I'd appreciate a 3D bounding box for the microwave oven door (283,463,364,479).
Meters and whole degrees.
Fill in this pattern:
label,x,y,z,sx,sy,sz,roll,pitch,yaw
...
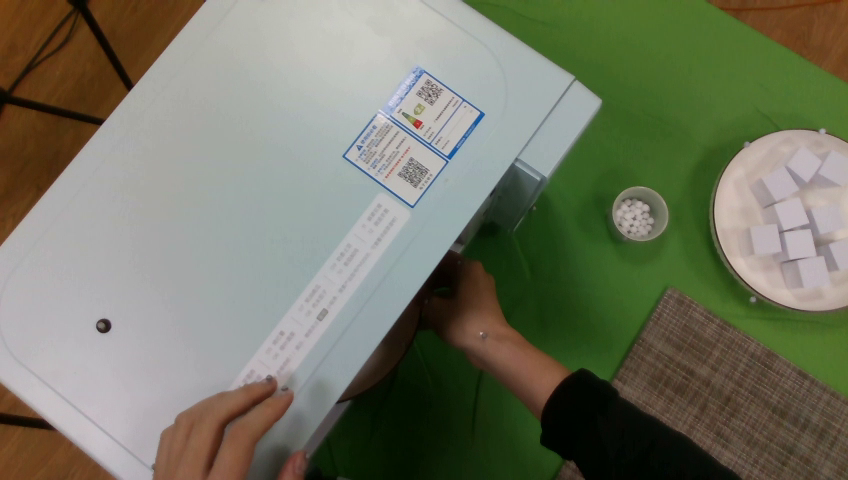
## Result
label,x,y,z,sx,sy,sz,roll,pitch,yaw
microwave oven door,0.034,0.278,0.518,0.356,0.244,0.039,14,81,2

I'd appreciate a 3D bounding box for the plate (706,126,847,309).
label,x,y,z,sx,sy,sz,roll,pitch,yaw
plate,0.420,-0.024,0.684,0.208,0.039,0.207,0,81,1

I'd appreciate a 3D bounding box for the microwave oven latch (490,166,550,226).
label,x,y,z,sx,sy,sz,roll,pitch,yaw
microwave oven latch,0.107,-0.055,0.671,0.030,0.029,0.079,40,84,6

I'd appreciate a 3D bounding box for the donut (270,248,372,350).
label,x,y,z,sx,sy,sz,roll,pitch,yaw
donut,-0.099,0.057,0.589,0.099,0.048,0.099,0,86,-6

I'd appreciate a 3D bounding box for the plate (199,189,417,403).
label,x,y,z,sx,sy,sz,roll,pitch,yaw
plate,-0.112,0.054,0.601,0.209,0.038,0.208,1,83,-6

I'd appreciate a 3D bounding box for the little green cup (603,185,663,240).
label,x,y,z,sx,sy,sz,roll,pitch,yaw
little green cup,0.233,-0.028,0.683,0.061,0.039,0.061,0,82,1

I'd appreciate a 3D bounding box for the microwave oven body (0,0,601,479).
label,x,y,z,sx,sy,sz,roll,pitch,yaw
microwave oven body,-0.119,-0.015,0.569,0.325,0.261,0.441,36,84,5
